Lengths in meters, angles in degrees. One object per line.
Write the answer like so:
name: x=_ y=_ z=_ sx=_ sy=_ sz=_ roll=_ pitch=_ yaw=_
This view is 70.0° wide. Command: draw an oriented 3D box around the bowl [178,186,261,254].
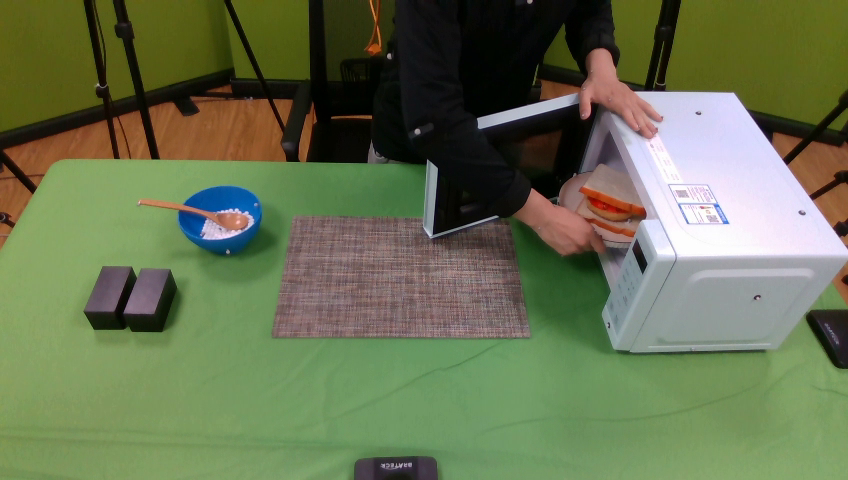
bowl: x=-0.383 y=-0.026 z=1.158 sx=0.151 sy=0.077 sz=0.150 roll=2 pitch=46 yaw=-2

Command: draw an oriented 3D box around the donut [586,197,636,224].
donut: x=0.354 y=-0.067 z=1.144 sx=0.099 sy=0.048 sz=0.098 roll=12 pitch=36 yaw=-8

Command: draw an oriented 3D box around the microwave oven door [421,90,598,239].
microwave oven door: x=0.166 y=-0.147 z=1.182 sx=0.356 sy=0.245 sz=0.039 roll=-18 pitch=49 yaw=-20

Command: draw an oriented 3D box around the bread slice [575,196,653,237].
bread slice: x=0.369 y=-0.059 z=1.157 sx=0.134 sy=0.018 sz=0.106 roll=26 pitch=55 yaw=15

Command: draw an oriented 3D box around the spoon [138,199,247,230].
spoon: x=-0.431 y=-0.053 z=1.135 sx=0.194 sy=0.022 sz=0.041 roll=15 pitch=48 yaw=-20

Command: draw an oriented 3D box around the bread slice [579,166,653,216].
bread slice: x=0.369 y=-0.092 z=1.127 sx=0.131 sy=0.019 sz=0.105 roll=26 pitch=44 yaw=25

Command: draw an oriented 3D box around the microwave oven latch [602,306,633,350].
microwave oven latch: x=0.332 y=0.152 z=1.044 sx=0.030 sy=0.029 sz=0.078 roll=0 pitch=45 yaw=-3

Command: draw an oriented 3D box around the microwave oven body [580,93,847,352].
microwave oven body: x=0.475 y=-0.042 z=1.109 sx=0.326 sy=0.261 sz=0.438 roll=-1 pitch=45 yaw=-4

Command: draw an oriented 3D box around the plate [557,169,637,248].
plate: x=0.358 y=-0.057 z=1.166 sx=0.208 sy=0.039 sz=0.206 roll=1 pitch=46 yaw=-1
